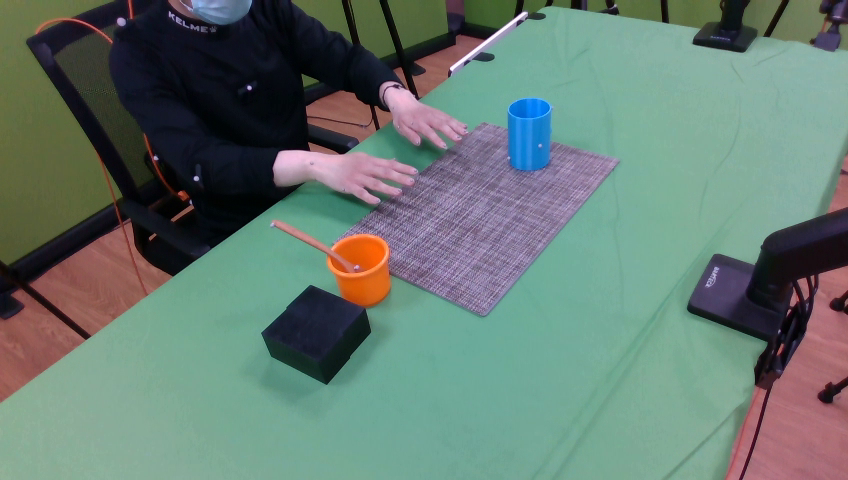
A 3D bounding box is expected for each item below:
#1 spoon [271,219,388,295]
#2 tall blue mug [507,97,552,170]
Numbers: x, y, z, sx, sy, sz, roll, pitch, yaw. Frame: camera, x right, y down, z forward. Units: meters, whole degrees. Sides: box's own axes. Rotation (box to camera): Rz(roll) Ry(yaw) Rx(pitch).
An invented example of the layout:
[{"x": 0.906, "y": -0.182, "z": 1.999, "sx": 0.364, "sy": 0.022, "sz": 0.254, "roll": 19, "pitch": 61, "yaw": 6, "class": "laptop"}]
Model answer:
[{"x": -0.133, "y": 0.022, "z": 0.865, "sx": 0.021, "sy": 0.195, "sz": 0.041, "roll": -35, "pitch": 27, "yaw": 40, "class": "spoon"}, {"x": 0.179, "y": -0.198, "z": 1.101, "sx": 0.078, "sy": 0.108, "sz": 0.106, "roll": -36, "pitch": 49, "yaw": -28, "class": "tall blue mug"}]
